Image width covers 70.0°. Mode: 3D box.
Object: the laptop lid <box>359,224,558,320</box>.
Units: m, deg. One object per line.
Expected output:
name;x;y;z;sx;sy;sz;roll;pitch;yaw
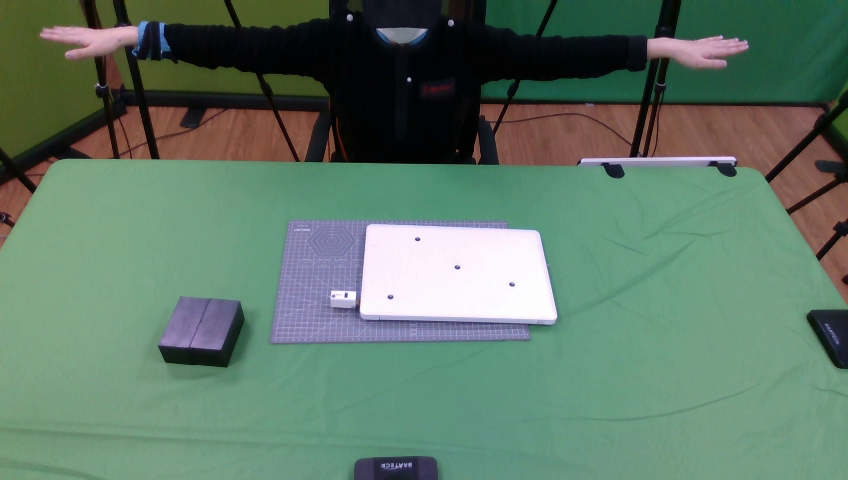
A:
laptop lid;0.062;0.053;1.138;0.357;0.013;0.240;3;44;-2

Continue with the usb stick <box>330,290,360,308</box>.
usb stick;-0.135;0.105;1.069;0.059;0.027;0.021;6;44;-6

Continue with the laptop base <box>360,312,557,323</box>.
laptop base;0.061;0.063;1.145;0.354;0.023;0.234;2;43;-3
